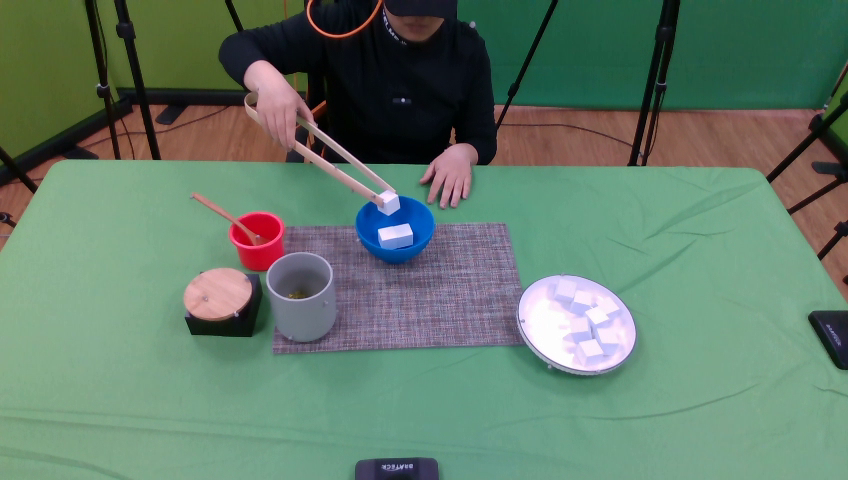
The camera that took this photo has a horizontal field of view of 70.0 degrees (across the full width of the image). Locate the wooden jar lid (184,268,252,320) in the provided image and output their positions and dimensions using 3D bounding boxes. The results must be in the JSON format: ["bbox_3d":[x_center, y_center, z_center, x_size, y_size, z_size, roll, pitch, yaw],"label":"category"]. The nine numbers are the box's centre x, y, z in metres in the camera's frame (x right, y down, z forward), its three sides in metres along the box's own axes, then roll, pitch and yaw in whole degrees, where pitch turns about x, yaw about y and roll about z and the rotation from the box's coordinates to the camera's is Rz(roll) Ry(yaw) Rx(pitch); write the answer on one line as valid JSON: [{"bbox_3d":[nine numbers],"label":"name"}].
[{"bbox_3d":[-0.343,0.092,1.015,0.108,0.021,0.107,3,46,-3],"label":"wooden jar lid"}]

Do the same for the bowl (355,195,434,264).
[{"bbox_3d":[-0.057,-0.008,1.158,0.151,0.077,0.150,2,46,-2],"label":"bowl"}]

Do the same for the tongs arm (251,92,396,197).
[{"bbox_3d":[-0.202,-0.195,1.200,0.386,0.028,0.028,36,61,19],"label":"tongs arm"}]

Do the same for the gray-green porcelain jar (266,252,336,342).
[{"bbox_3d":[-0.202,0.100,1.009,0.106,0.127,0.105,2,46,-2],"label":"gray-green porcelain jar"}]

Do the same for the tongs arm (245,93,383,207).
[{"bbox_3d":[-0.218,-0.181,1.187,0.383,0.026,0.050,33,57,17],"label":"tongs arm"}]

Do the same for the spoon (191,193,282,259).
[{"bbox_3d":[-0.342,-0.027,1.115,0.194,0.021,0.041,43,40,-24],"label":"spoon"}]

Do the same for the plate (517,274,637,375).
[{"bbox_3d":[0.264,0.149,1.060,0.209,0.038,0.208,3,46,-3],"label":"plate"}]
